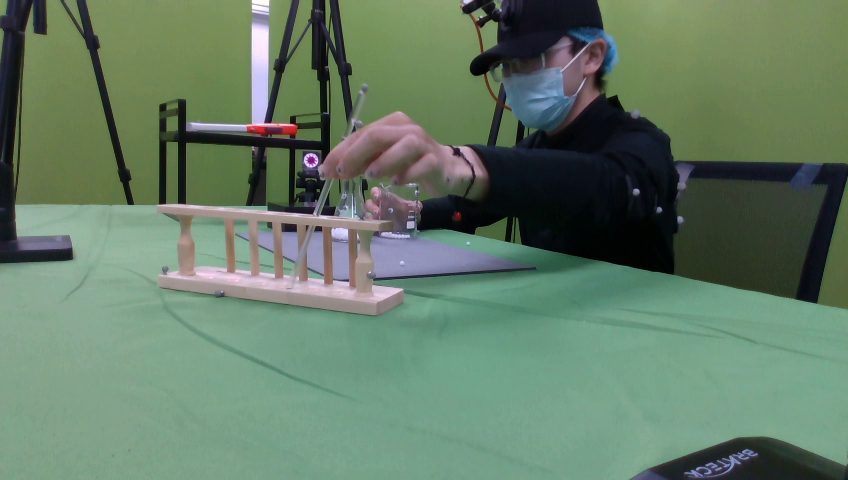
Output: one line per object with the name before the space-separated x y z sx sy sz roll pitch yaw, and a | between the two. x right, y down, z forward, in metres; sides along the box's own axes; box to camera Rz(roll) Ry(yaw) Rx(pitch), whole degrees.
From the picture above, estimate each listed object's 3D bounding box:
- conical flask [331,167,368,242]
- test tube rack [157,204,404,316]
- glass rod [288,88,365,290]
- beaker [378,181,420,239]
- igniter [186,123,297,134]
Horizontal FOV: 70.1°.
conical flask | -0.123 -0.061 1.019 0.075 0.122 0.075 2 7 0
test tube rack | -0.143 0.013 0.599 0.242 0.085 0.067 5 8 19
glass rod | -0.090 -0.045 0.561 0.008 0.199 0.008 20 4 -1
beaker | -0.047 -0.055 1.087 0.073 0.100 0.084 7 9 31
igniter | -0.392 -0.247 1.341 0.057 0.025 0.278 9 14 38
